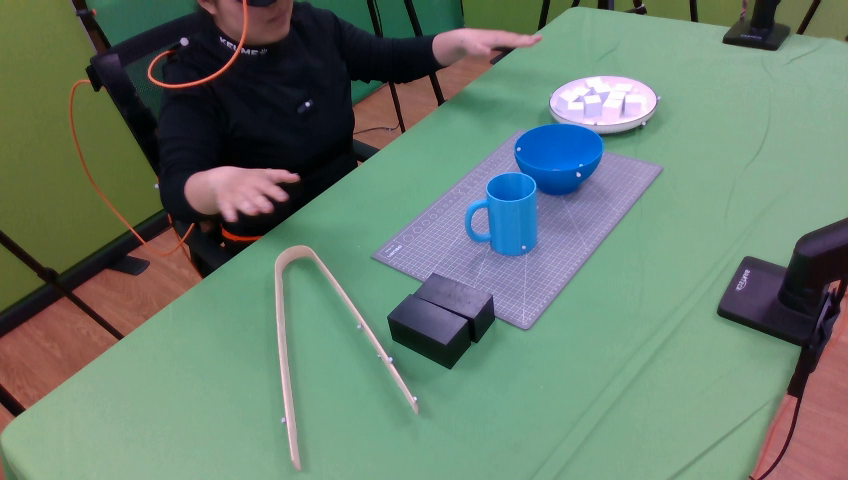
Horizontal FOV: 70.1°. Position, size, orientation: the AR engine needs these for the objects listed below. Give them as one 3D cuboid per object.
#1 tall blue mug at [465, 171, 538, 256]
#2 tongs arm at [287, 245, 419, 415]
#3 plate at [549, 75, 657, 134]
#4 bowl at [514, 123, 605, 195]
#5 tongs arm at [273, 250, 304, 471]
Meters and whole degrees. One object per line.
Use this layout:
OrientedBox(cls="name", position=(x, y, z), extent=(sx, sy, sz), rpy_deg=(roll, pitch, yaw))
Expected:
OrientedBox(cls="tall blue mug", position=(0.125, -0.033, 0.925), extent=(0.107, 0.108, 0.077), rpy_deg=(-32, 46, -25))
OrientedBox(cls="tongs arm", position=(-0.114, 0.113, 0.859), extent=(0.051, 0.027, 0.381), rpy_deg=(-28, 43, -12))
OrientedBox(cls="plate", position=(0.357, -0.269, 1.220), extent=(0.209, 0.038, 0.208), rpy_deg=(-5, 41, 5))
OrientedBox(cls="bowl", position=(0.232, -0.131, 1.045), extent=(0.151, 0.077, 0.150), rpy_deg=(-5, 40, 5))
OrientedBox(cls="tongs arm", position=(-0.188, 0.145, 0.844), extent=(0.028, 0.028, 0.384), rpy_deg=(-22, 41, 0))
